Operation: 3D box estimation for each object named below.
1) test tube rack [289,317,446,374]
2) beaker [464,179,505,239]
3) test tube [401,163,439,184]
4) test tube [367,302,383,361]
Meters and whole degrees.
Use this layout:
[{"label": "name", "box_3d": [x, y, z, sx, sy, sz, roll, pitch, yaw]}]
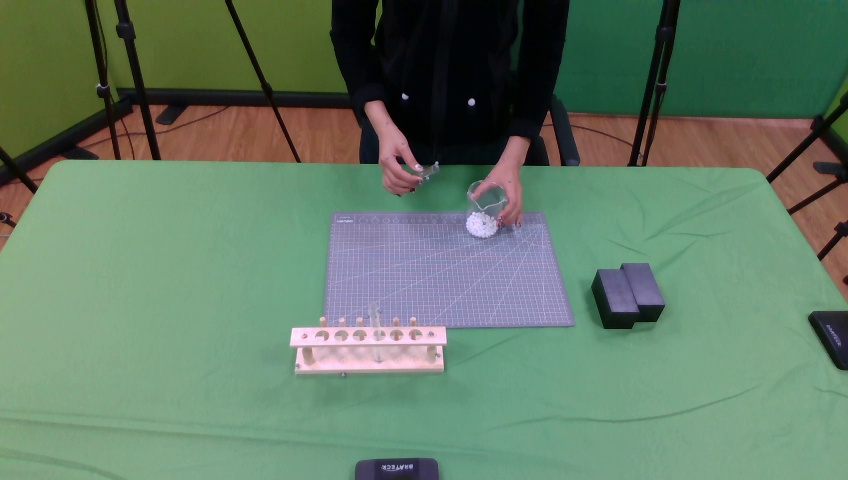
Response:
[{"label": "test tube rack", "box_3d": [-0.089, 0.167, 0.988, 0.242, 0.085, 0.066, 0, 46, -4]}, {"label": "beaker", "box_3d": [0.118, -0.056, 1.207, 0.074, 0.101, 0.083, 13, 47, 9]}, {"label": "test tube", "box_3d": [-0.011, -0.126, 1.165, 0.017, 0.150, 0.017, 2, 85, -25]}, {"label": "test tube", "box_3d": [-0.075, 0.145, 0.941, 0.017, 0.151, 0.017, 0, 49, 0]}]
